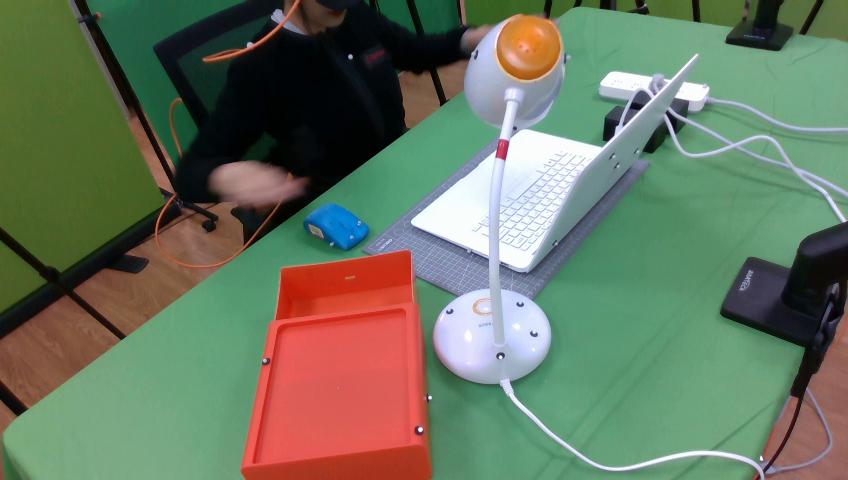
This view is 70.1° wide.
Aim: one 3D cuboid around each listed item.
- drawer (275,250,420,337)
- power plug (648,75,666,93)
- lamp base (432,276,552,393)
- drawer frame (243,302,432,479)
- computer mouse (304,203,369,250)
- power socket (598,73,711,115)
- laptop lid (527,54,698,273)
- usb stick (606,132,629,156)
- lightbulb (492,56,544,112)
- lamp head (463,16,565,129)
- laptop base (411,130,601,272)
[{"bbox_3d":[-0.104,0.117,0.825,0.194,0.073,0.210,-8,40,1],"label":"drawer"},{"bbox_3d":[0.457,-0.301,1.212,0.073,0.053,0.035,-36,47,-28],"label":"power plug"},{"bbox_3d":[0.085,0.075,0.756,0.161,0.181,0.178,-14,44,-6],"label":"lamp base"},{"bbox_3d":[-0.096,0.185,0.738,0.202,0.083,0.212,-8,40,1],"label":"drawer frame"},{"bbox_3d":[-0.151,-0.026,1.037,0.116,0.041,0.063,28,51,31],"label":"computer mouse"},{"bbox_3d":[0.470,-0.304,1.248,0.225,0.033,0.072,20,49,30],"label":"power socket"},{"bbox_3d":[0.281,-0.113,0.896,0.013,0.242,0.358,38,55,17],"label":"laptop lid"},{"bbox_3d":[0.353,-0.174,1.109,0.021,0.027,0.059,22,49,35],"label":"usb stick"},{"bbox_3d":[0.108,-0.180,0.679,0.059,0.059,0.107,-10,-1,0],"label":"lightbulb"},{"bbox_3d":[0.101,-0.184,0.655,0.112,0.112,0.123,-9,1,0],"label":"lamp head"},{"bbox_3d":[0.175,-0.083,1.054,0.233,0.023,0.355,22,49,36],"label":"laptop base"}]
